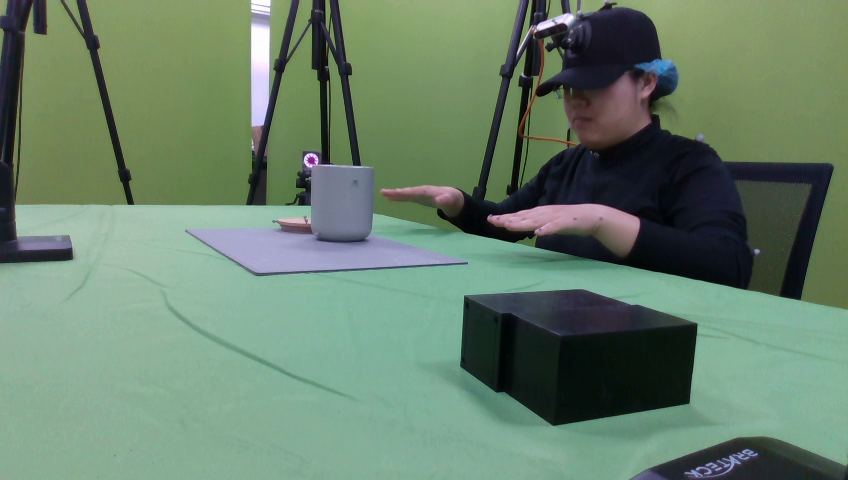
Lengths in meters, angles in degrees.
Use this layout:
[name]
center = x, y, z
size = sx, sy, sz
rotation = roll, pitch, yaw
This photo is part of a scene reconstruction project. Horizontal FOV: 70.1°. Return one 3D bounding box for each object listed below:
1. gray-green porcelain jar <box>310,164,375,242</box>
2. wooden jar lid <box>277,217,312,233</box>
[gray-green porcelain jar]
center = -0.139, -0.064, 1.025
size = 0.106, 0.126, 0.106
rotation = 3, 8, 0
[wooden jar lid]
center = -0.221, -0.028, 1.138
size = 0.108, 0.020, 0.108
rotation = 2, 8, 0
